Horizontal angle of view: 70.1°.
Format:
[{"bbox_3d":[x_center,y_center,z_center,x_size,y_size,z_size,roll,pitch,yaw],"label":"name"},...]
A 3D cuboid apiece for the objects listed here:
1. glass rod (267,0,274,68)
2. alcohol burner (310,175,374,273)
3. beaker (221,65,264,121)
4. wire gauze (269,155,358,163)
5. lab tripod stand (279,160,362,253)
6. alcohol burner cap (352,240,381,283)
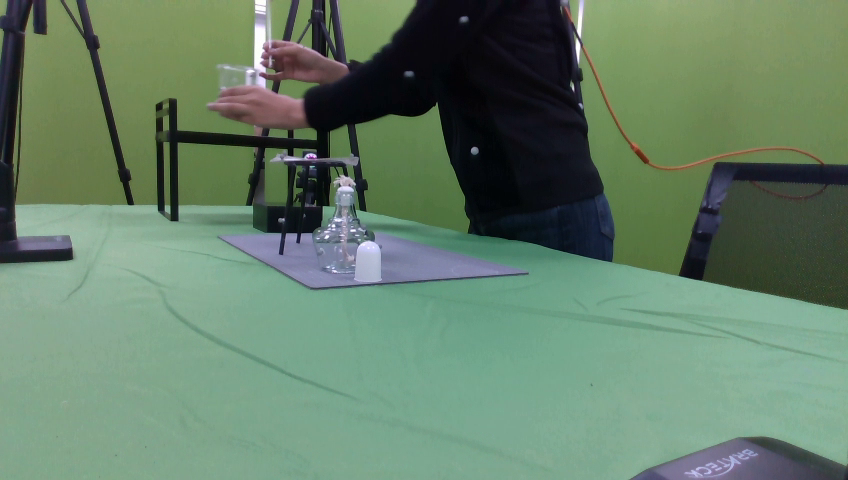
[{"bbox_3d":[-0.323,-0.457,1.270,0.008,0.199,0.008,-5,-7,0],"label":"glass rod"},{"bbox_3d":[-0.100,-0.020,0.740,0.078,0.119,0.078,1,6,0],"label":"alcohol burner"},{"bbox_3d":[-0.357,-0.285,1.176,0.073,0.100,0.084,14,12,42],"label":"beaker"},{"bbox_3d":[-0.159,-0.118,0.886,0.122,0.011,0.125,1,7,-9],"label":"wire gauze"},{"bbox_3d":[-0.166,-0.052,0.897,0.148,0.131,0.148,0,7,0],"label":"lab tripod stand"},{"bbox_3d":[-0.065,0.023,0.690,0.034,0.048,0.034,2,8,0],"label":"alcohol burner cap"}]
